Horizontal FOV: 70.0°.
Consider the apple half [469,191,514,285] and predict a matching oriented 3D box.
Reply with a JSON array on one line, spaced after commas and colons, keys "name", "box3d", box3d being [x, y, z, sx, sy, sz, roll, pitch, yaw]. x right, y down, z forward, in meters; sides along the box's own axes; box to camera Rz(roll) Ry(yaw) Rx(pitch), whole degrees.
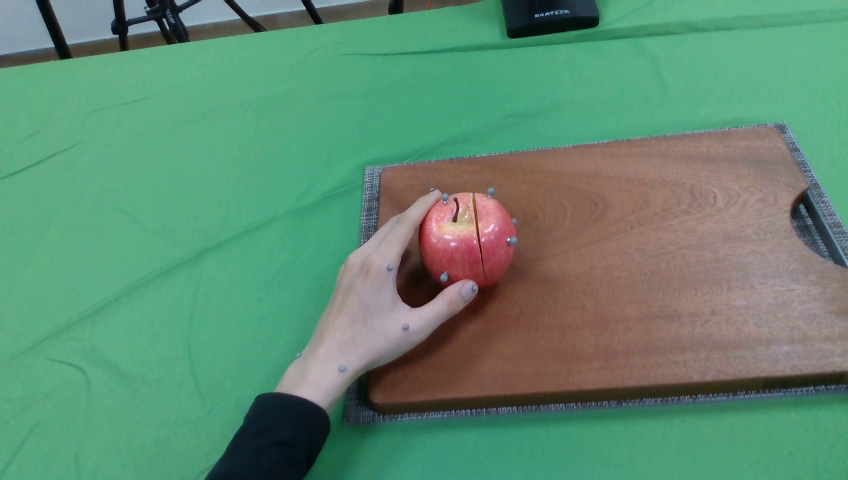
[{"name": "apple half", "box3d": [0.059, -0.002, 0.510, 0.033, 0.082, 0.080, -9, 51, 5]}]

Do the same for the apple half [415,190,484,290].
[{"name": "apple half", "box3d": [0.020, 0.004, 0.514, 0.053, 0.075, 0.080, -11, 54, 6]}]
